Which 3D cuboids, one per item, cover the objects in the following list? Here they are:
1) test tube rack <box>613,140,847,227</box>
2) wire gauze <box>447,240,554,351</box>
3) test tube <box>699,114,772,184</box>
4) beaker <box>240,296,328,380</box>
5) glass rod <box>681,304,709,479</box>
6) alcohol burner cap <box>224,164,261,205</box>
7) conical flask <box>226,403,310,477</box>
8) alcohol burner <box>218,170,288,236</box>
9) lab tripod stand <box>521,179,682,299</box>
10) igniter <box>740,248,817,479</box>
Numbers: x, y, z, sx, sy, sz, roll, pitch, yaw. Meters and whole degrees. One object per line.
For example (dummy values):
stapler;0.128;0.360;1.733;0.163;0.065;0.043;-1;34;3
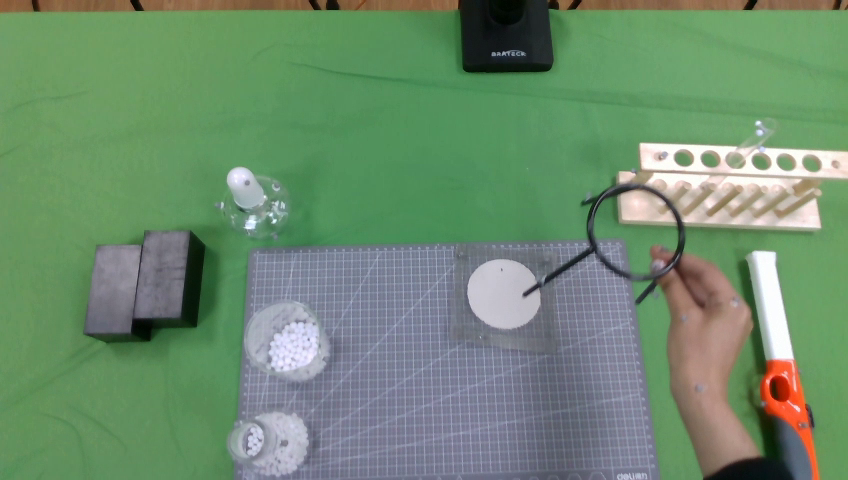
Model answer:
test tube rack;0.358;-0.065;0.716;0.242;0.085;0.066;2;71;-1
wire gauze;0.091;0.062;0.704;0.125;0.011;0.120;7;71;-2
test tube;0.343;-0.095;0.674;0.017;0.151;0.017;0;71;1
beaker;-0.138;0.108;0.633;0.084;0.101;0.074;34;74;9
glass rod;0.303;0.170;0.677;0.008;0.008;0.198;0;74;-2
alcohol burner cap;-0.195;-0.062;0.647;0.034;0.048;0.033;1;65;-2
conical flask;-0.158;0.194;0.592;0.075;0.122;0.075;1;71;-1
alcohol burner;-0.196;-0.048;0.680;0.078;0.120;0.077;0;72;0
lab tripod stand;0.174;0.008;0.593;0.149;0.132;0.147;2;76;-7
igniter;0.395;0.141;0.679;0.057;0.025;0.274;3;71;-11
